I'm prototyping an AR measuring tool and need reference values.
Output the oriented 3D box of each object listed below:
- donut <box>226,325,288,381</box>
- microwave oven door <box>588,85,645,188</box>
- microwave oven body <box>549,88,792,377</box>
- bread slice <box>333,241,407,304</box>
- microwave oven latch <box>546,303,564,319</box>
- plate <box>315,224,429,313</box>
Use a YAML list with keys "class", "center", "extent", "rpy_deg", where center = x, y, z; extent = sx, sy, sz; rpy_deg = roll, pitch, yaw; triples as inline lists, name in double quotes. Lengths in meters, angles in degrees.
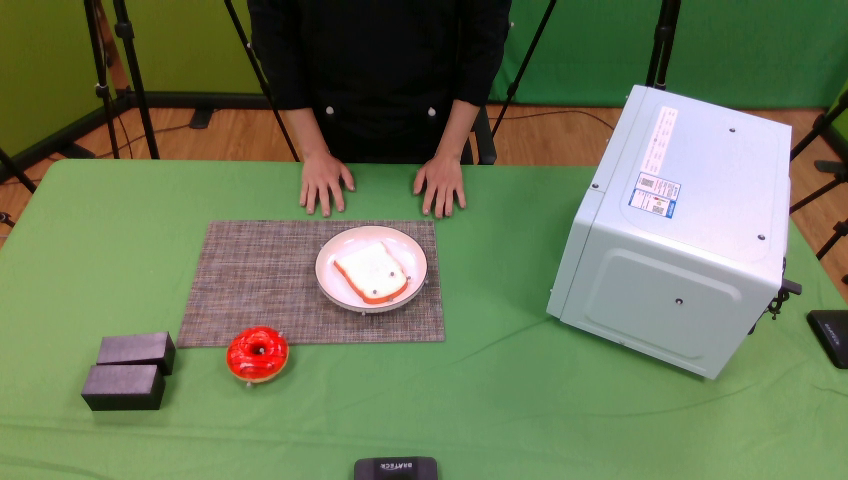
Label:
- class: "donut"
  center: [-0.270, 0.182, 0.984]
  extent: [0.099, 0.048, 0.098]
  rpy_deg: [5, 49, -5]
- class: "microwave oven door"
  center: [0.342, -0.107, 1.149]
  extent: [0.039, 0.245, 0.354]
  rpy_deg: [20, 48, 15]
- class: "microwave oven body"
  center: [0.456, -0.028, 1.088]
  extent: [0.325, 0.261, 0.440]
  rpy_deg: [20, 47, 16]
- class: "bread slice"
  center: [-0.092, 0.060, 1.117]
  extent: [0.105, 0.019, 0.130]
  rpy_deg: [-24, 52, -24]
- class: "microwave oven latch"
  center: [0.242, 0.102, 1.081]
  extent: [0.030, 0.029, 0.079]
  rpy_deg: [21, 48, 17]
- class: "plate"
  center: [-0.096, 0.055, 1.121]
  extent: [0.208, 0.039, 0.206]
  rpy_deg: [2, 46, -2]
